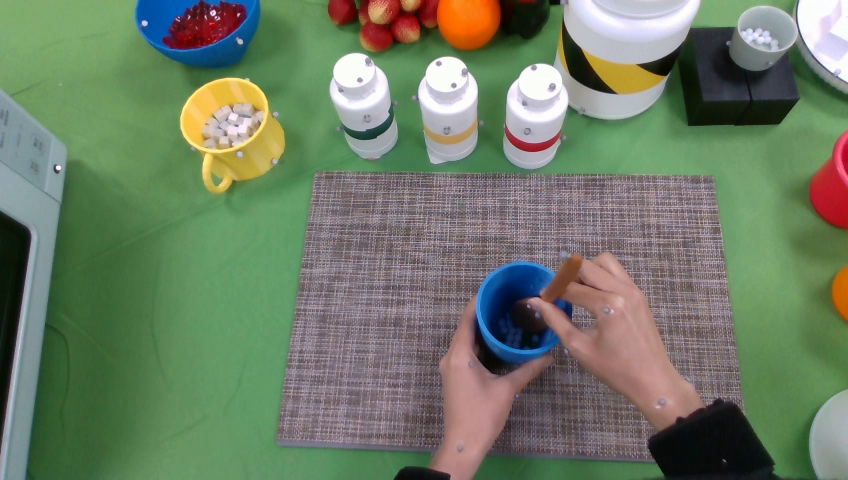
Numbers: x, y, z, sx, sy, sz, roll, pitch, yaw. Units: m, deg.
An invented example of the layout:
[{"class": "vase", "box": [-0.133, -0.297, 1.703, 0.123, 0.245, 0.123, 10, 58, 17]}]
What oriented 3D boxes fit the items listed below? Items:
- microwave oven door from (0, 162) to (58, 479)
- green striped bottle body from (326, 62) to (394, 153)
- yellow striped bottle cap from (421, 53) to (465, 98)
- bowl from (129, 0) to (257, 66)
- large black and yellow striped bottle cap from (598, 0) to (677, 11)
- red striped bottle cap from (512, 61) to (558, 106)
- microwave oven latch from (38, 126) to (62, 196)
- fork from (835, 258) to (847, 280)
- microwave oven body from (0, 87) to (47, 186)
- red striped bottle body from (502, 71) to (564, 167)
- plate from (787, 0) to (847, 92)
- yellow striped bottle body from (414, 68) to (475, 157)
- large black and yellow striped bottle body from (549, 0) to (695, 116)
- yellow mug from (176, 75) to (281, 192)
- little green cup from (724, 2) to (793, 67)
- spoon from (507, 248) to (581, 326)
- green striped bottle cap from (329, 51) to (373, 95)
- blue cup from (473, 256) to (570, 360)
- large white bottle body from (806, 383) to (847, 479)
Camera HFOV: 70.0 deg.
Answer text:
[{"class": "microwave oven door", "box": [-0.424, 0.074, 0.520, 0.039, 0.245, 0.353, -8, 68, 2]}, {"class": "green striped bottle body", "box": [-0.070, -0.152, 0.670, 0.063, 0.120, 0.062, -1, 67, 4]}, {"class": "yellow striped bottle cap", "box": [0.019, -0.167, 0.613, 0.044, 0.019, 0.044, -1, 70, 3]}, {"class": "bowl", "box": [-0.274, -0.272, 0.756, 0.151, 0.077, 0.150, -1, 68, 3]}, {"class": "large black and yellow striped bottle cap", "box": [0.201, -0.266, 0.570, 0.115, 0.019, 0.114, -2, 67, 4]}, {"class": "red striped bottle cap", "box": [0.110, -0.156, 0.601, 0.044, 0.018, 0.044, 0, 67, 0]}, {"class": "microwave oven latch", "box": [-0.439, -0.090, 0.696, 0.030, 0.030, 0.078, -6, 69, 2]}, {"class": "fork", "box": [0.468, 0.054, 0.531, 0.028, 0.019, 0.205, -33, 25, -14]}, {"class": "microwave oven body", "box": [-0.572, 0.056, 0.544, 0.326, 0.262, 0.438, -8, 68, 1]}, {"class": "red striped bottle body", "box": [0.116, -0.135, 0.649, 0.063, 0.120, 0.062, -3, 65, 7]}, {"class": "plate", "box": [0.529, -0.246, 0.707, 0.209, 0.038, 0.207, -1, 69, 4]}, {"class": "yellow striped bottle body", "box": [0.023, -0.147, 0.660, 0.063, 0.121, 0.062, -2, 67, 5]}, {"class": "large black and yellow striped bottle body", "box": [0.208, -0.235, 0.648, 0.131, 0.185, 0.130, -2, 68, 4]}, {"class": "yellow mug", "box": [-0.228, -0.116, 0.696, 0.100, 0.064, 0.130, 11, 70, 8]}, {"class": "little green cup", "box": [0.358, -0.220, 0.655, 0.061, 0.039, 0.061, -1, 67, 3]}, {"class": "spoon", "box": [0.103, 0.045, 0.521, 0.041, 0.194, 0.021, 27, 73, 6]}, {"class": "green striped bottle cap", "box": [-0.075, -0.172, 0.622, 0.044, 0.020, 0.044, -1, 67, 3]}, {"class": "blue cup", "box": [0.087, 0.073, 0.573, 0.092, 0.101, 0.092, -1, 67, 3]}, {"class": "large white bottle body", "box": [0.409, 0.159, 0.473, 0.130, 0.186, 0.129, -2, 67, 4]}]
